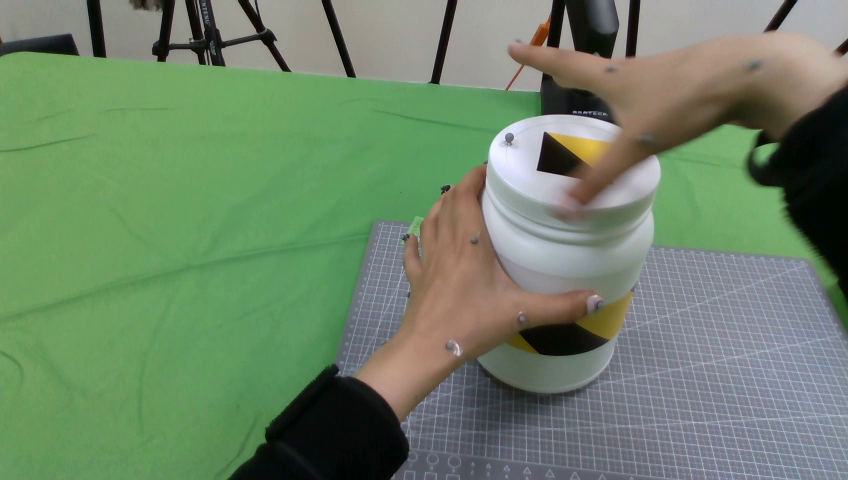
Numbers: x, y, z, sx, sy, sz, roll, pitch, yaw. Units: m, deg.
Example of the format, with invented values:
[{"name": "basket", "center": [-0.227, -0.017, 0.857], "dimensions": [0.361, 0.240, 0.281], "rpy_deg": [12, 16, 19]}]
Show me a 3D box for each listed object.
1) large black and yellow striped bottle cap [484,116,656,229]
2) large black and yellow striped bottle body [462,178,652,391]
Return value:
[{"name": "large black and yellow striped bottle cap", "center": [0.099, -0.050, 0.415], "dimensions": [0.115, 0.019, 0.114], "rpy_deg": [2, 42, -1]}, {"name": "large black and yellow striped bottle body", "center": [0.099, 0.015, 0.473], "dimensions": [0.131, 0.185, 0.129], "rpy_deg": [1, 42, 0]}]
